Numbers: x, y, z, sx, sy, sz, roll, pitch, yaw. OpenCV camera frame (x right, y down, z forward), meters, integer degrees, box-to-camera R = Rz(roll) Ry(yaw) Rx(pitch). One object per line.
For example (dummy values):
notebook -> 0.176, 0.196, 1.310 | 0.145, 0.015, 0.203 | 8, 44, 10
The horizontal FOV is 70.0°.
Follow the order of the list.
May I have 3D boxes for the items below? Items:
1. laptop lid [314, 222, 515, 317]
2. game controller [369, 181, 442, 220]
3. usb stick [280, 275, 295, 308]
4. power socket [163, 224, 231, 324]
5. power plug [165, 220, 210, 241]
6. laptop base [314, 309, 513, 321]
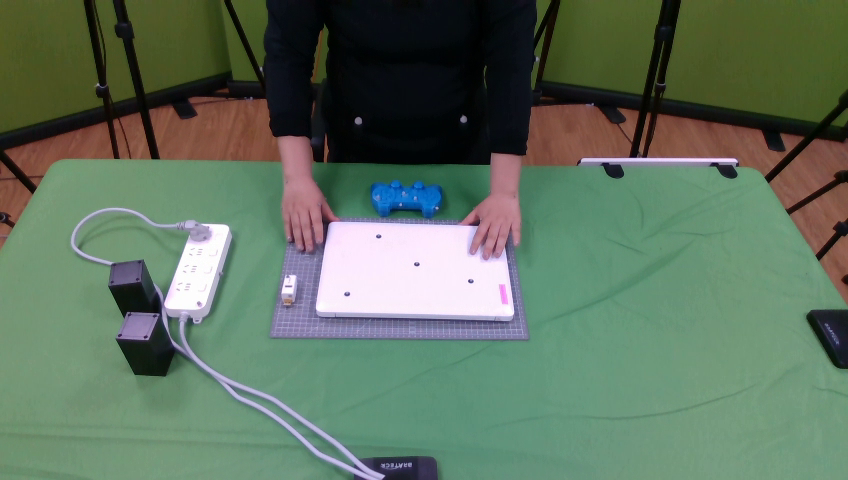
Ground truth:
laptop lid -> -0.016, 0.049, 1.134 | 0.357, 0.013, 0.240 | 3, 43, -2
game controller -> -0.039, -0.092, 1.268 | 0.155, 0.052, 0.096 | 2, 50, -2
usb stick -> -0.244, 0.093, 1.081 | 0.021, 0.027, 0.059 | 3, 48, -5
power socket -> -0.411, 0.052, 1.107 | 0.072, 0.033, 0.225 | 3, 46, -3
power plug -> -0.440, -0.015, 1.143 | 0.072, 0.053, 0.035 | 7, 46, 9
laptop base -> -0.017, 0.059, 1.141 | 0.354, 0.023, 0.234 | 2, 42, -3
